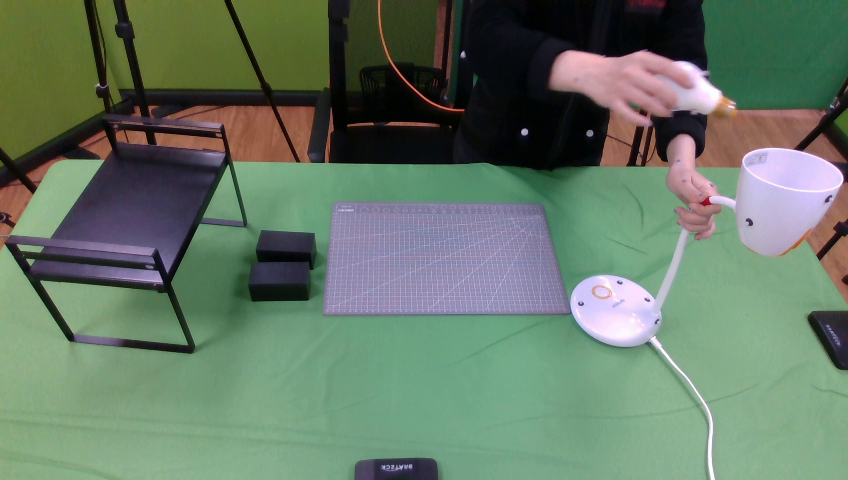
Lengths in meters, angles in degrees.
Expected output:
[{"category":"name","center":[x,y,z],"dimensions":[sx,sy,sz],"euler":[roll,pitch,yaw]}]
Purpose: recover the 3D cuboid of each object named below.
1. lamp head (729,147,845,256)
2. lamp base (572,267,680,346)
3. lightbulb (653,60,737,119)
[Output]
[{"category":"lamp head","center":[0.440,-0.044,0.760],"dimensions":[0.112,0.123,0.111],"euler":[1,40,-1]},{"category":"lamp base","center":[0.360,0.077,1.038],"dimensions":[0.160,0.181,0.178],"euler":[-34,59,-31]},{"category":"lightbulb","center":[0.336,-0.180,0.747],"dimensions":[0.107,0.060,0.059],"euler":[27,48,0]}]
